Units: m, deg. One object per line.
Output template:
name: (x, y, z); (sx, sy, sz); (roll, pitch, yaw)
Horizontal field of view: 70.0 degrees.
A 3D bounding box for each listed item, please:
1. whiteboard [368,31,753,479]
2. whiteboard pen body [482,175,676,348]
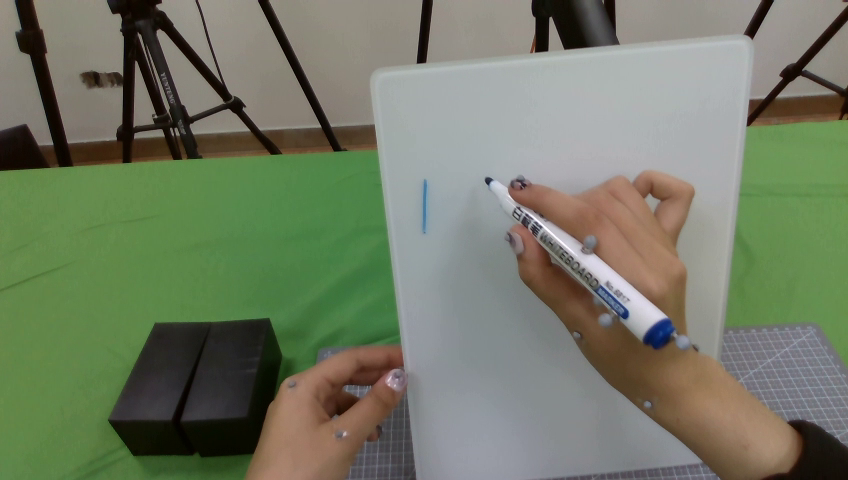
whiteboard: (0.088, 0.012, 0.451); (0.217, 0.307, 0.143); (-5, 21, 1)
whiteboard pen body: (0.069, 0.003, 0.306); (0.017, 0.017, 0.139); (-23, 46, -20)
